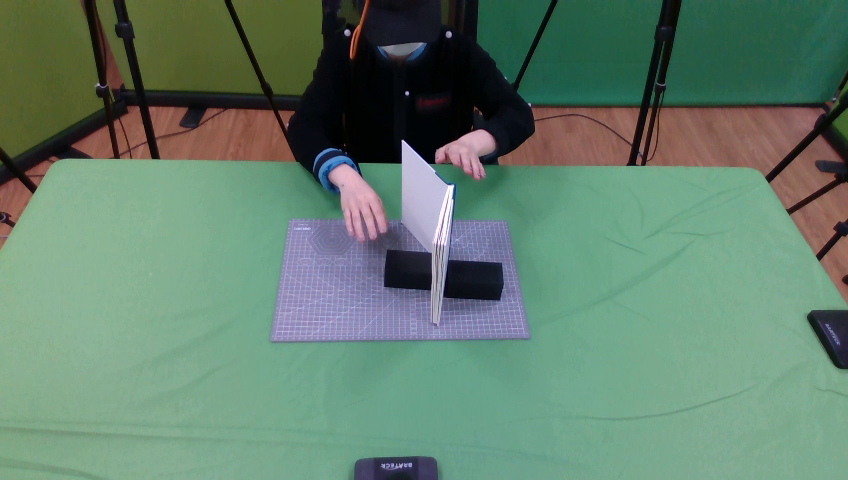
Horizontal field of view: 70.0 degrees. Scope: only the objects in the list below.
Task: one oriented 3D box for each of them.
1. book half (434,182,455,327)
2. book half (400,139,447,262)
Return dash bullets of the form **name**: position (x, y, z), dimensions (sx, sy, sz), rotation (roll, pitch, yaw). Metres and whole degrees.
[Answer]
- **book half**: position (0.033, 0.028, 1.036), dimensions (0.016, 0.211, 0.148), rotation (7, 46, 4)
- **book half**: position (-0.005, -0.065, 1.124), dimensions (0.007, 0.211, 0.142), rotation (-26, 53, -23)
